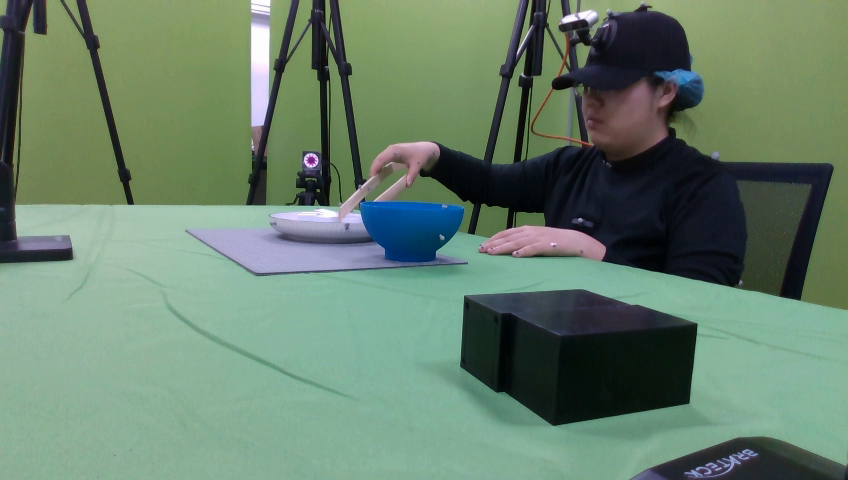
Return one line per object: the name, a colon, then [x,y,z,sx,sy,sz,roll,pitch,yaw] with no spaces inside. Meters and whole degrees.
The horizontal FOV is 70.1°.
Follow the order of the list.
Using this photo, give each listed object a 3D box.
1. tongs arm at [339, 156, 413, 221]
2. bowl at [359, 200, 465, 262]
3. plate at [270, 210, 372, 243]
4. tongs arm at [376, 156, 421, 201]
tongs arm: [-0.083,-0.109,1.178,0.050,0.026,0.385,1,21,10]
bowl: [-0.018,-0.013,0.859,0.151,0.077,0.151,2,7,0]
plate: [-0.161,-0.023,1.054,0.208,0.039,0.207,2,7,0]
tongs arm: [-0.053,-0.107,1.171,0.028,0.028,0.388,-1,20,14]
